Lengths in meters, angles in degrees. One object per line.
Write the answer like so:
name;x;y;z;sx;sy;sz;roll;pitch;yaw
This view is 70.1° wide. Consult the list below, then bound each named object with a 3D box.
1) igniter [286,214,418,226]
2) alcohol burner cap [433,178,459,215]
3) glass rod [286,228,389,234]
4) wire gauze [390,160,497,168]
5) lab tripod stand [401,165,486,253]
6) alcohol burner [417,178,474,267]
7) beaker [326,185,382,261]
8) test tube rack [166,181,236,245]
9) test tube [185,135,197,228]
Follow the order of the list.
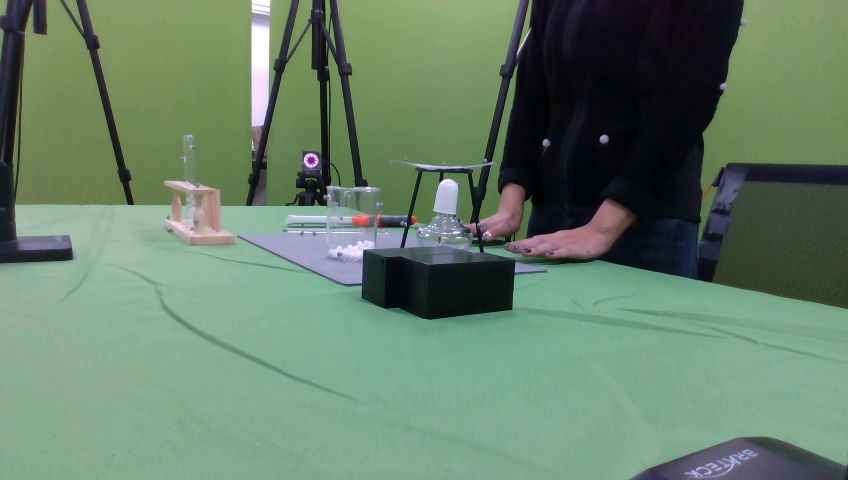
igniter;-0.146;-0.043;1.263;0.278;0.025;0.057;-1;-2;-24
alcohol burner cap;0.031;-0.060;0.806;0.034;0.048;0.034;9;10;-1
glass rod;-0.154;-0.016;1.101;0.201;0.008;0.008;1;6;-31
wire gauze;0.028;-0.115;0.919;0.122;0.011;0.124;-4;10;-34
lab tripod stand;0.027;-0.049;0.930;0.148;0.131;0.148;2;9;0
alcohol burner;0.029;-0.024;0.810;0.078;0.119;0.078;1;9;0
beaker;-0.100;-0.025;0.835;0.074;0.100;0.083;0;7;-23
test tube rack;-0.383;-0.051;1.024;0.067;0.085;0.241;-2;9;-31
test tube;-0.376;-0.094;0.977;0.017;0.150;0.017;-1;3;0
